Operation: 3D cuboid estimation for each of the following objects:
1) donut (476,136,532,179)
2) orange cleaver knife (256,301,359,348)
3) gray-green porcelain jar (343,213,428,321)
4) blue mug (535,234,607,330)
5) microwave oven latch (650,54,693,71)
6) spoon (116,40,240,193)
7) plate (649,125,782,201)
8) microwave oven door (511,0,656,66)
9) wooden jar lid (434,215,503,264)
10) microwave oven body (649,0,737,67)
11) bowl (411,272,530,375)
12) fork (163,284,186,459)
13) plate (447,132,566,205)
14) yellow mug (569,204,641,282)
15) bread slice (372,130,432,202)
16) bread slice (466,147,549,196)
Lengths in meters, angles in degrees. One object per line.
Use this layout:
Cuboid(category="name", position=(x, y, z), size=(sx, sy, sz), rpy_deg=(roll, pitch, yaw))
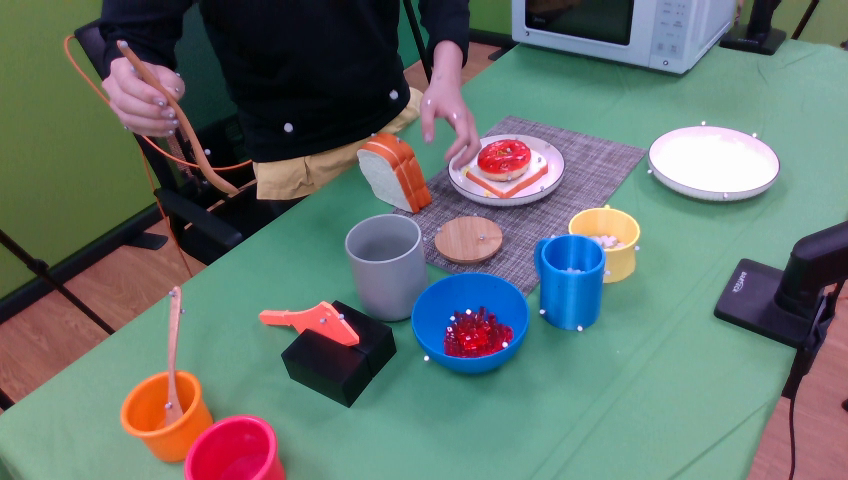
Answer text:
Cuboid(category="donut", position=(0.140, -0.146, 1.058), size=(0.099, 0.048, 0.098), rpy_deg=(-7, 41, 6))
Cuboid(category="orange cleaver knife", position=(-0.160, 0.115, 0.813), size=(0.210, 0.077, 0.012), rpy_deg=(-9, 29, 48))
Cuboid(category="gray-green porcelain jar", position=(-0.049, 0.042, 0.849), size=(0.106, 0.127, 0.105), rpy_deg=(-4, 41, 4))
Cuboid(category="blue mug", position=(0.191, 0.048, 0.824), size=(0.082, 0.106, 0.115), rpy_deg=(-26, 44, -20))
Cuboid(category="microwave oven latch", position=(0.531, -0.386, 1.301), size=(0.078, 0.029, 0.030), rpy_deg=(26, 51, 33))
Cuboid(category="spoon", position=(-0.252, -0.122, 0.630), size=(0.022, 0.195, 0.041), rpy_deg=(-35, 38, -14))
Cuboid(category="plate", position=(0.493, -0.127, 1.036), size=(0.207, 0.039, 0.206), rpy_deg=(-4, 41, 4))
Cuboid(category="microwave oven door", position=(0.351, -0.539, 1.348), size=(0.353, 0.245, 0.039), rpy_deg=(24, 50, 31))
Cuboid(category="wooden jar lid", position=(0.070, 0.001, 0.956), size=(0.108, 0.021, 0.108), rpy_deg=(-4, 40, 4))
Cuboid(category="microwave oven body", position=(0.475, -0.602, 1.411), size=(0.438, 0.261, 0.327), rpy_deg=(23, 50, 32))
Cuboid(category="bowl", position=(0.061, 0.120, 0.780), size=(0.151, 0.077, 0.150), rpy_deg=(-4, 40, 4))
Cuboid(category="fork", position=(-0.302, 0.157, 0.733), size=(0.028, 0.019, 0.207), rpy_deg=(-3, 84, 15))
Cuboid(category="plate", position=(0.146, -0.124, 1.076), size=(0.209, 0.038, 0.208), rpy_deg=(-3, 41, 3))
Cuboid(category="yellow mug", position=(0.268, -0.005, 0.904), size=(0.099, 0.064, 0.130), rpy_deg=(7, 41, 15))
Cuboid(category="bread slice", position=(-0.041, -0.128, 1.039), size=(0.106, 0.135, 0.018), rpy_deg=(29, 63, 33))
Cuboid(category="bread slice", position=(0.156, -0.129, 1.084), size=(0.132, 0.019, 0.104), rpy_deg=(-33, 48, -23))
